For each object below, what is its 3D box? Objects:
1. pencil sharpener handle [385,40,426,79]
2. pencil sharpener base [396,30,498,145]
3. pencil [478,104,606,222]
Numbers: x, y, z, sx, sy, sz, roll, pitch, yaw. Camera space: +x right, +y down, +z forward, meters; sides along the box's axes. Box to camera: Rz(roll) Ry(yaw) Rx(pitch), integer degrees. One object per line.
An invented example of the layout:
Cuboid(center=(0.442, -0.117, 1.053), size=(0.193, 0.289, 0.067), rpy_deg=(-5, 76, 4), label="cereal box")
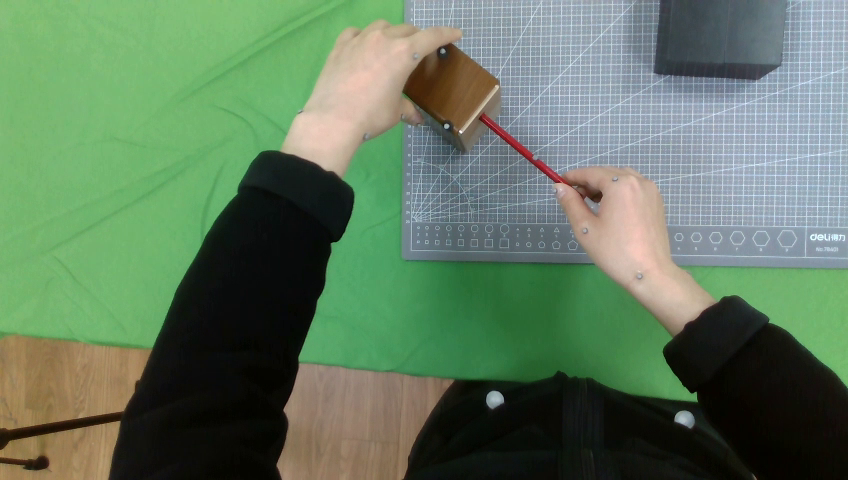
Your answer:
Cuboid(center=(-0.021, -0.170, 0.566), size=(0.030, 0.068, 0.036), rpy_deg=(41, 73, 5), label="pencil sharpener handle")
Cuboid(center=(0.024, -0.141, 0.575), size=(0.076, 0.107, 0.061), rpy_deg=(41, 96, 5), label="pencil sharpener base")
Cuboid(center=(0.089, -0.085, 0.545), size=(0.194, 0.012, 0.012), rpy_deg=(44, 95, 4), label="pencil")
